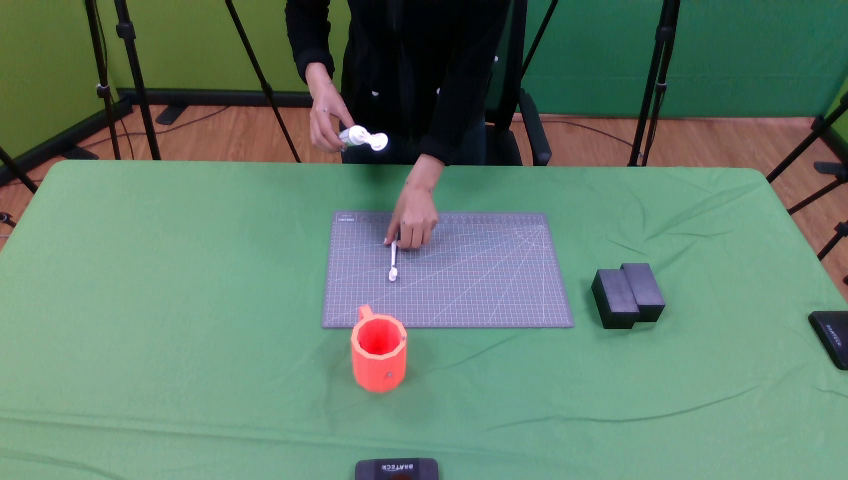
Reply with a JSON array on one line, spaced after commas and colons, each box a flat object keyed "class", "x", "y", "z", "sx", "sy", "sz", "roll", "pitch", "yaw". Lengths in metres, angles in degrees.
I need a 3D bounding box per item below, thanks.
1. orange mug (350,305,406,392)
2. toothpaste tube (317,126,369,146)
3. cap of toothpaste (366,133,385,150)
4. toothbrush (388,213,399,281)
[{"class": "orange mug", "x": -0.080, "y": 0.168, "z": 0.978, "sx": 0.083, "sy": 0.101, "sz": 0.125, "roll": -16, "pitch": 54, "yaw": -18}, {"class": "toothpaste tube", "x": -0.149, "y": -0.192, "z": 1.153, "sx": 0.055, "sy": 0.034, "sz": 0.164, "roll": 4, "pitch": 0, "yaw": -31}, {"class": "cap of toothpaste", "x": -0.088, "y": -0.179, "z": 1.090, "sx": 0.037, "sy": 0.011, "sz": 0.037, "roll": -10, "pitch": 65, "yaw": 21}, {"class": "toothbrush", "x": -0.058, "y": 0.009, "z": 1.185, "sx": 0.014, "sy": 0.017, "sz": 0.180, "roll": 12, "pitch": 44, "yaw": -11}]
